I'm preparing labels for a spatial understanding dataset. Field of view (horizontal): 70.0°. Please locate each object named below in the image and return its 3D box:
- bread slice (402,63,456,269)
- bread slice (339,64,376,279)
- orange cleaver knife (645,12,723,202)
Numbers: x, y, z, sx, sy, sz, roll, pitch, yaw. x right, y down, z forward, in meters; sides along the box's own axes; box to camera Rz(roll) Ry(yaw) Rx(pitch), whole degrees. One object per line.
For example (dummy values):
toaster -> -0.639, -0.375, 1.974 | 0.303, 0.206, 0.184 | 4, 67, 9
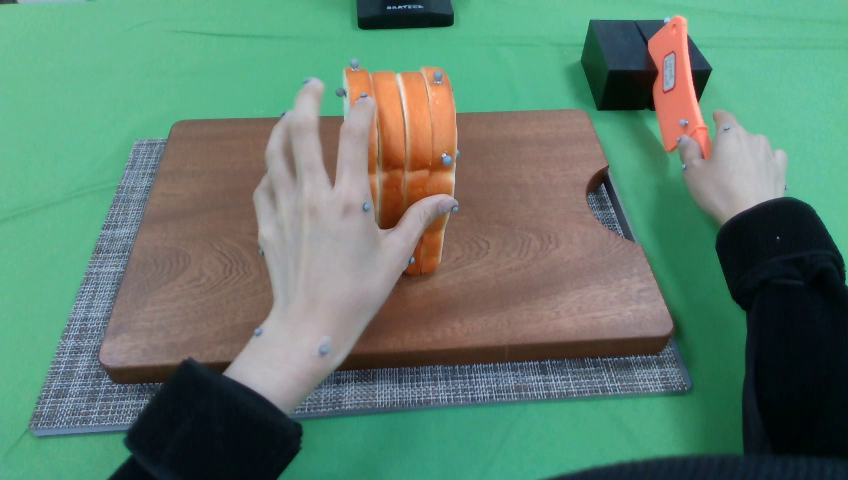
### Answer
bread slice -> 0.002, -0.058, 0.444 | 0.019, 0.132, 0.104 | -1, 48, -11
bread slice -> -0.049, -0.056, 0.439 | 0.018, 0.135, 0.106 | -4, 44, -11
orange cleaver knife -> 0.243, -0.123, 0.579 | 0.012, 0.077, 0.209 | 0, 67, -8
